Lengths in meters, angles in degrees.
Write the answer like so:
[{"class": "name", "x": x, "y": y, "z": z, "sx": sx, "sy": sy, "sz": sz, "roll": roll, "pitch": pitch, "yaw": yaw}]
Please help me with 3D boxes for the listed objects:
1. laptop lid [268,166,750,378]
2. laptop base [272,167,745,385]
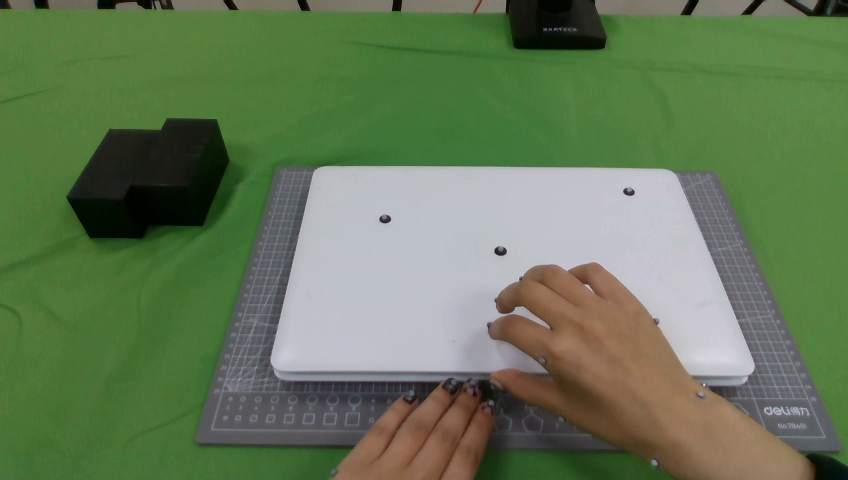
[{"class": "laptop lid", "x": 0.063, "y": 0.013, "z": 0.512, "sx": 0.357, "sy": 0.013, "sz": 0.239, "roll": 2, "pitch": 46, "yaw": 1}, {"class": "laptop base", "x": 0.064, "y": 0.022, "z": 0.525, "sx": 0.354, "sy": 0.023, "sz": 0.233, "roll": 0, "pitch": 50, "yaw": 0}]
